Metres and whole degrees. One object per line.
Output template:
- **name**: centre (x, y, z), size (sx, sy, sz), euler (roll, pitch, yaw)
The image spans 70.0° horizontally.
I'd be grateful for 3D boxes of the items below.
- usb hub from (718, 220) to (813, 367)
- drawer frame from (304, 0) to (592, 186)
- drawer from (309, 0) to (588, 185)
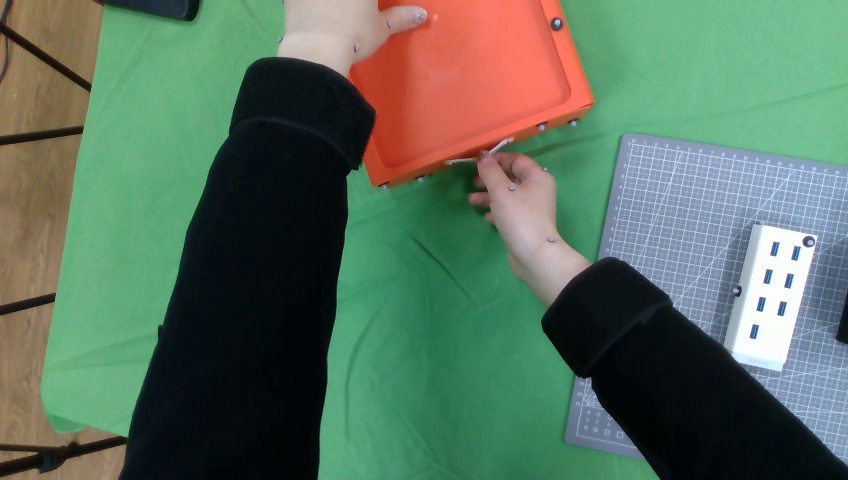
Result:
- **usb hub**: centre (0.306, 0.047, 0.545), size (0.049, 0.025, 0.125), euler (12, 95, 5)
- **drawer frame**: centre (0.014, -0.178, 0.536), size (0.201, 0.083, 0.213), euler (-20, 90, 8)
- **drawer**: centre (0.016, -0.177, 0.539), size (0.194, 0.073, 0.211), euler (-19, 90, 8)
